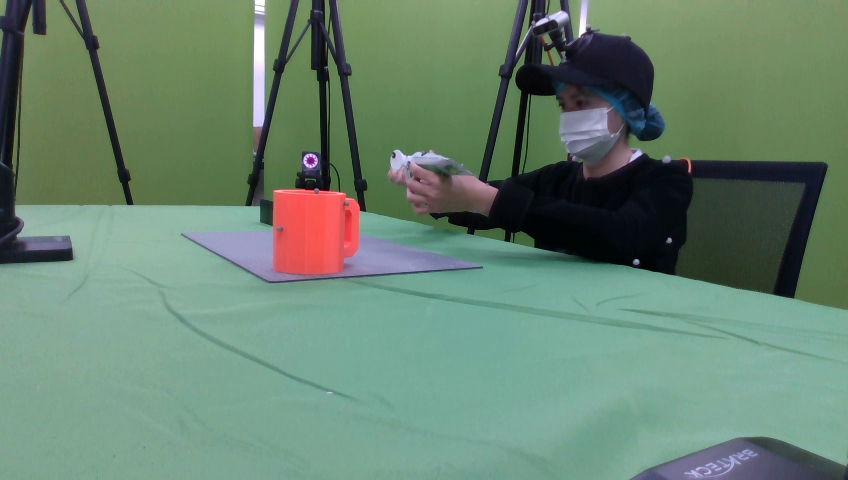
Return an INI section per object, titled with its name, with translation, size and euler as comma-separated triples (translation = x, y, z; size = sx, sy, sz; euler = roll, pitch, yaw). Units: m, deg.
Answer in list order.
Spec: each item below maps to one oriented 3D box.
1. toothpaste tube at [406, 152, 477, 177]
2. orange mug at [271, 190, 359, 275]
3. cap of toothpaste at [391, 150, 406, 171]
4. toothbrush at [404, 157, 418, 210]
[toothpaste tube]
translation = 0.018, -0.120, 0.950
size = 0.055, 0.034, 0.164
euler = 24, -3, -31
[orange mug]
translation = -0.131, -0.013, 0.754
size = 0.083, 0.101, 0.127
euler = 8, 13, 38
[cap of toothpaste]
translation = -0.042, -0.133, 1.017
size = 0.011, 0.037, 0.037
euler = -5, 11, -40
[toothbrush]
translation = -0.023, -0.100, 1.097
size = 0.016, 0.014, 0.182
euler = -4, -25, 4
